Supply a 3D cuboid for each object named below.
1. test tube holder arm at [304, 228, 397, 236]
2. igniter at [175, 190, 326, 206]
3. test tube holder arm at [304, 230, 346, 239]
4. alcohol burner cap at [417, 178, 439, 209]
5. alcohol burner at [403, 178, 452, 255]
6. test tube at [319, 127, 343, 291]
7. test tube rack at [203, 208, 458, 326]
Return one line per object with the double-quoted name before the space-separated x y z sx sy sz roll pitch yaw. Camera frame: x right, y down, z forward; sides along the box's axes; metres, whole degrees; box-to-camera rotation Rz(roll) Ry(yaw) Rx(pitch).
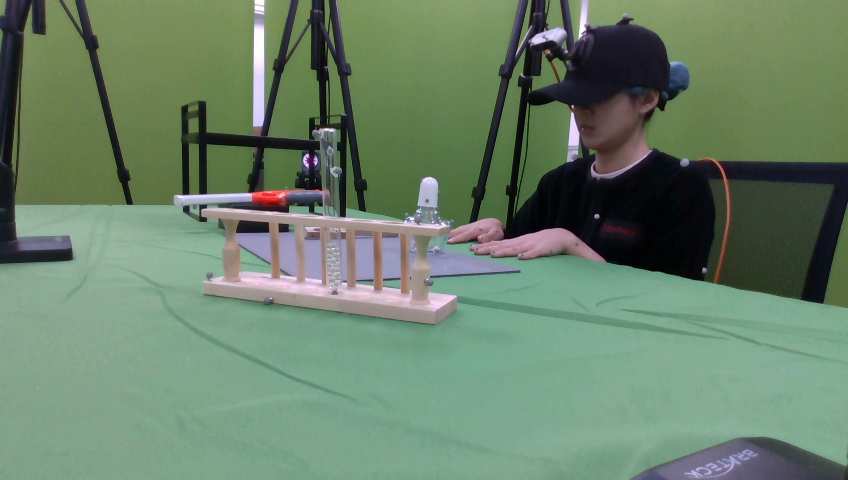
"test tube holder arm" -0.126 -0.014 1.068 0.179 0.015 0.013 -1 45 -33
"igniter" -0.315 -0.079 1.128 0.278 0.025 0.057 -5 13 -34
"test tube holder arm" -0.162 -0.010 1.040 0.088 0.015 0.010 0 45 -32
"alcohol burner cap" 0.008 -0.070 0.917 0.034 0.048 0.034 5 6 0
"alcohol burner" 0.005 -0.036 0.923 0.078 0.119 0.078 5 7 0
"test tube" -0.084 -0.027 0.552 0.017 0.150 0.017 -1 8 0
"test tube rack" -0.090 0.019 0.579 0.241 0.085 0.067 5 7 19
